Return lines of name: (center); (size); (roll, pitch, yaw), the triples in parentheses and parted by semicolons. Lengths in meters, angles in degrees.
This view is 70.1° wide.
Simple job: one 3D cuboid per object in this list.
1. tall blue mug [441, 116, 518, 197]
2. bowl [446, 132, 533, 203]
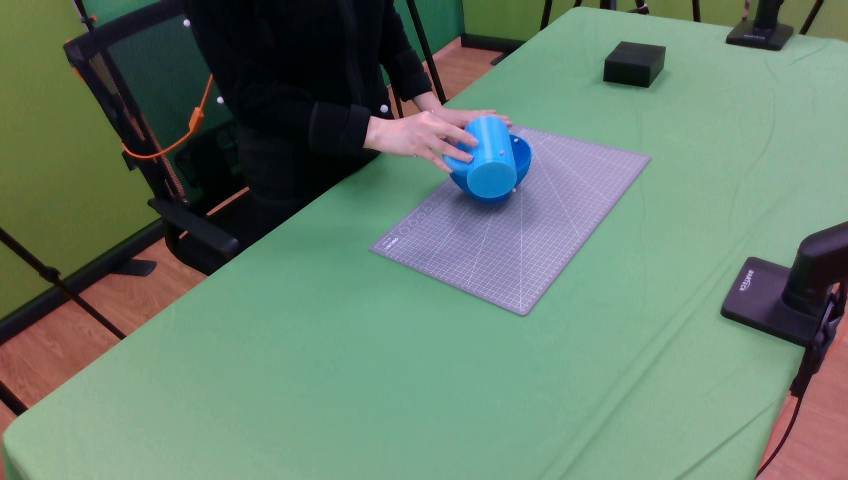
tall blue mug: (0.089, -0.136, 0.938); (0.077, 0.108, 0.107); (-40, 38, 35)
bowl: (0.115, -0.118, 1.056); (0.151, 0.077, 0.150); (-6, 40, 5)
